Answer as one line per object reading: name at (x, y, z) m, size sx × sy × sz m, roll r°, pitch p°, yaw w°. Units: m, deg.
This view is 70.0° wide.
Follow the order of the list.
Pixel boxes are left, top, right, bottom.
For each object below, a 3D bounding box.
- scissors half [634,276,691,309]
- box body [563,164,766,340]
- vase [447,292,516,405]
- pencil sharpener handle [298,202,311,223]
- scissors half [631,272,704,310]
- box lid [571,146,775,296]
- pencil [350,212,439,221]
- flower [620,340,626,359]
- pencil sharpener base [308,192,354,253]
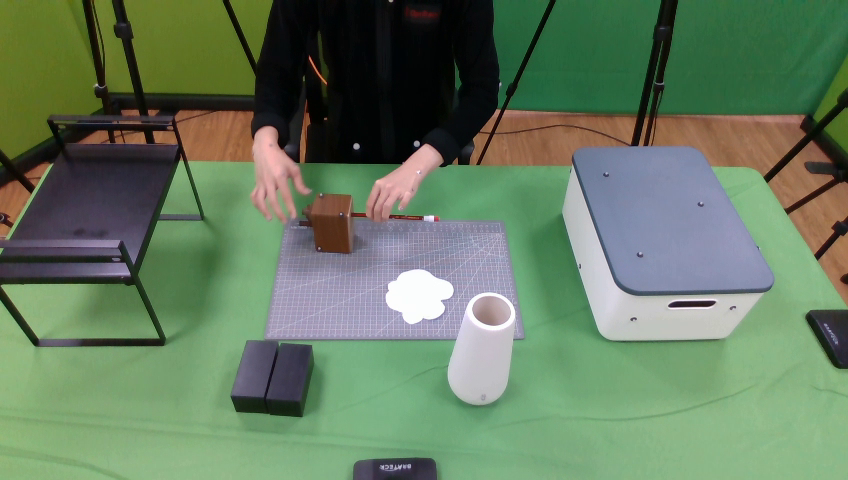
scissors half at (0.454, 0.096, 1.144) m, size 0.175 × 0.040 × 0.013 m, roll -20°, pitch 88°, yaw -31°
box body at (0.421, 0.003, 1.130) m, size 0.254 × 0.161 × 0.361 m, roll 0°, pitch 46°, yaw -5°
vase at (0.091, 0.168, 0.921) m, size 0.098 × 0.201 × 0.097 m, roll 3°, pitch 47°, yaw -3°
pencil sharpener handle at (-0.227, -0.049, 1.146) m, size 0.030 × 0.068 × 0.036 m, roll 3°, pitch 68°, yaw 0°
scissors half at (0.460, 0.092, 1.132) m, size 0.175 × 0.040 × 0.013 m, roll -22°, pitch 83°, yaw -21°
box lid at (0.424, -0.048, 1.074) m, size 0.263 × 0.015 × 0.369 m, roll -1°, pitch 46°, yaw -4°
pencil at (-0.069, -0.045, 1.133) m, size 0.194 × 0.012 × 0.012 m, roll 3°, pitch 46°, yaw 0°
flower at (0.416, 0.065, 1.186) m, size 0.038 × 0.044 × 0.360 m, roll 29°, pitch 64°, yaw -20°
pencil sharpener base at (-0.177, -0.032, 1.152) m, size 0.077 × 0.107 × 0.061 m, roll 3°, pitch 47°, yaw 0°
